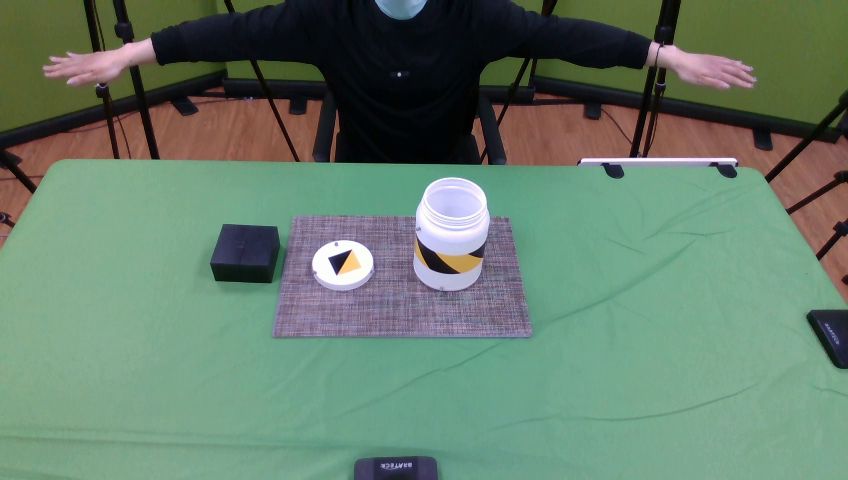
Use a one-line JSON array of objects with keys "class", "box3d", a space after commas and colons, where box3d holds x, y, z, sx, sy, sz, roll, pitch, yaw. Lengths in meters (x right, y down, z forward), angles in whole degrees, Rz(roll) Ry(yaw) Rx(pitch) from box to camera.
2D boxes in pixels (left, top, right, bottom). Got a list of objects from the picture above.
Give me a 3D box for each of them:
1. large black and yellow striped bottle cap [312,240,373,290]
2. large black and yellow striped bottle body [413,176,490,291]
[{"class": "large black and yellow striped bottle cap", "box3d": [-0.153, 0.046, 1.140, 0.115, 0.019, 0.114, 3, 47, -3]}, {"class": "large black and yellow striped bottle body", "box3d": [0.049, -0.011, 1.091, 0.131, 0.185, 0.130, 2, 46, -2]}]
